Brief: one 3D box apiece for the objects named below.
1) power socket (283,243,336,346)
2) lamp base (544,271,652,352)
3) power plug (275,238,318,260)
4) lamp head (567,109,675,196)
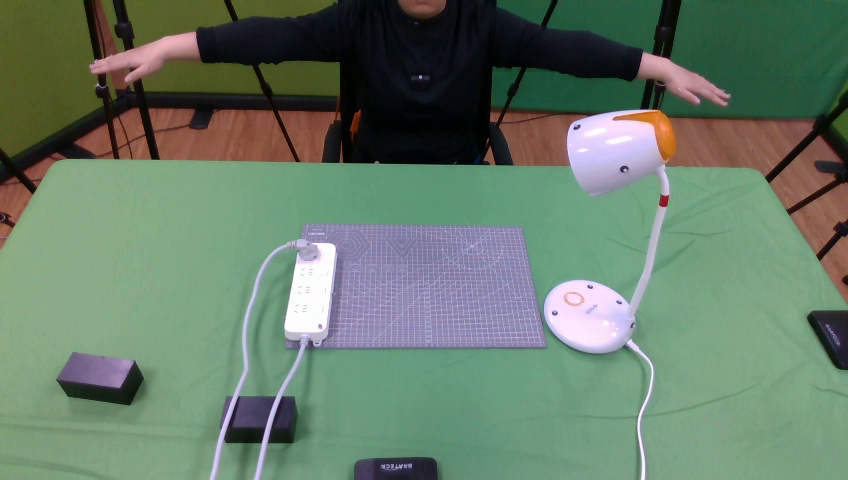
[{"bbox_3d":[-0.203,0.088,1.086,0.072,0.033,0.225,1,46,-2],"label":"power socket"},{"bbox_3d":[0.309,0.086,1.029,0.178,0.181,0.160,32,52,21],"label":"lamp base"},{"bbox_3d":[-0.232,0.018,1.119,0.072,0.053,0.035,8,46,6],"label":"power plug"},{"bbox_3d":[0.272,-0.123,0.818,0.122,0.113,0.112,-9,35,37],"label":"lamp head"}]
